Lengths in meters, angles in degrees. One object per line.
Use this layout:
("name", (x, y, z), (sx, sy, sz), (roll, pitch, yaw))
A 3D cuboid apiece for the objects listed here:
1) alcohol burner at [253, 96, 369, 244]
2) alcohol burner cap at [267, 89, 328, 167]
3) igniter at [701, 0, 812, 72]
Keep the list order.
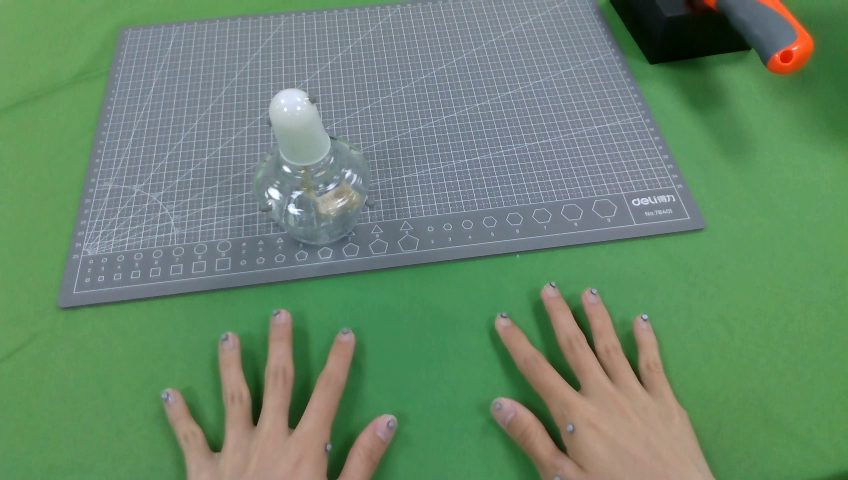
("alcohol burner", (-0.077, -0.050, 0.395), (0.078, 0.120, 0.077), (0, 58, 1))
("alcohol burner cap", (-0.078, -0.070, 0.366), (0.034, 0.048, 0.033), (0, 59, 1))
("igniter", (0.245, -0.235, 0.518), (0.057, 0.025, 0.273), (-11, 54, -4))
